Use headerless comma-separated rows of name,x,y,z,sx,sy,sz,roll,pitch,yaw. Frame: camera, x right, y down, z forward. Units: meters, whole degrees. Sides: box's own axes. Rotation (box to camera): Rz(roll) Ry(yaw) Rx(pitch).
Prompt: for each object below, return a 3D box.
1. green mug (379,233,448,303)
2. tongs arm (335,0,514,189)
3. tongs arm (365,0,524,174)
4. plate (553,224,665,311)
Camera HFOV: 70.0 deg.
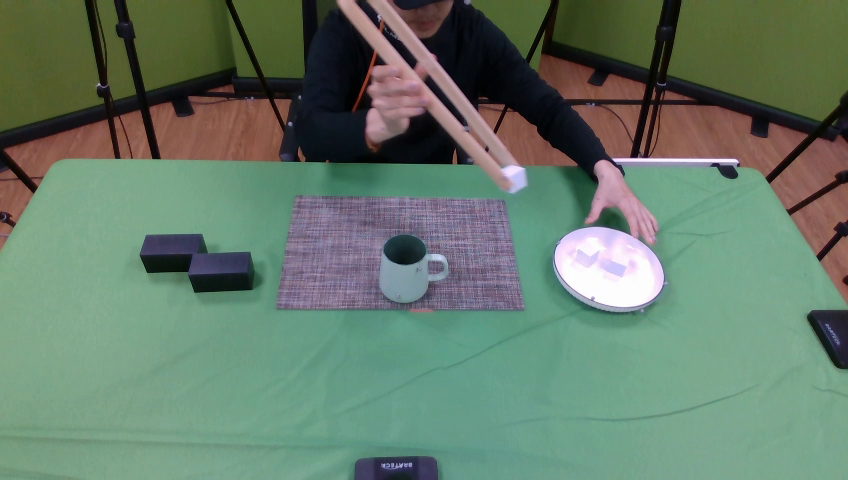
green mug,-0.019,0.050,1.084,0.125,0.105,0.092,0,46,-4
tongs arm,0.007,-0.227,0.902,0.386,0.026,0.050,44,53,-15
tongs arm,0.020,-0.244,0.919,0.388,0.028,0.028,46,56,-13
plate,0.349,0.055,1.159,0.209,0.038,0.208,2,47,-2
